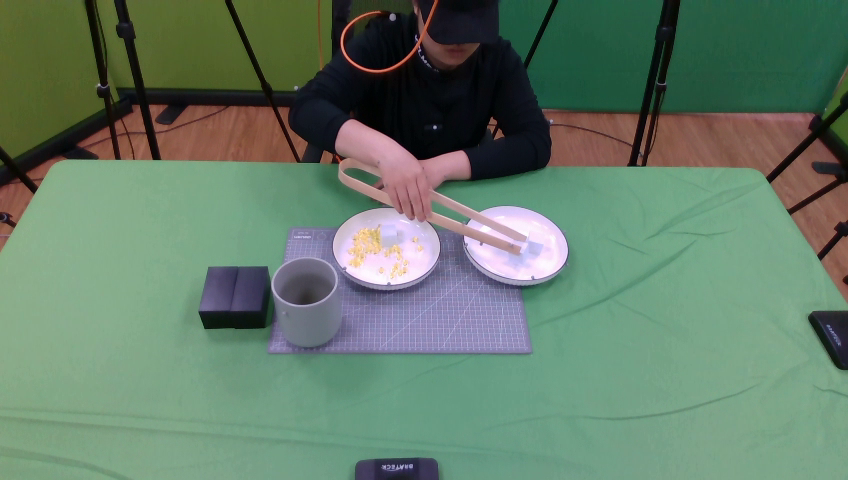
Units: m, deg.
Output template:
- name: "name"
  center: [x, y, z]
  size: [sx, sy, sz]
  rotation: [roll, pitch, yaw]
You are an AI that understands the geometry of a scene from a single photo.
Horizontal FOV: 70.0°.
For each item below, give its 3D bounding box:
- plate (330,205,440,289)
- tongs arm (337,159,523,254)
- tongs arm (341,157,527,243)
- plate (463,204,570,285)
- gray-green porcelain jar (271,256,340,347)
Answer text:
- name: "plate"
  center: [-0.074, 0.017, 1.160]
  size: [0.208, 0.039, 0.206]
  rotation: [2, 46, -2]
- name: "tongs arm"
  center: [0.007, -0.064, 1.147]
  size: [0.384, 0.026, 0.050]
  rotation: [21, 50, 5]
- name: "tongs arm"
  center: [0.016, -0.079, 1.161]
  size: [0.387, 0.028, 0.028]
  rotation: [24, 54, 8]
- name: "plate"
  center: [0.178, 0.012, 1.184]
  size: [0.209, 0.038, 0.208]
  rotation: [3, 46, -3]
- name: "gray-green porcelain jar"
  center: [-0.193, 0.107, 1.004]
  size: [0.106, 0.127, 0.105]
  rotation: [2, 46, -2]
